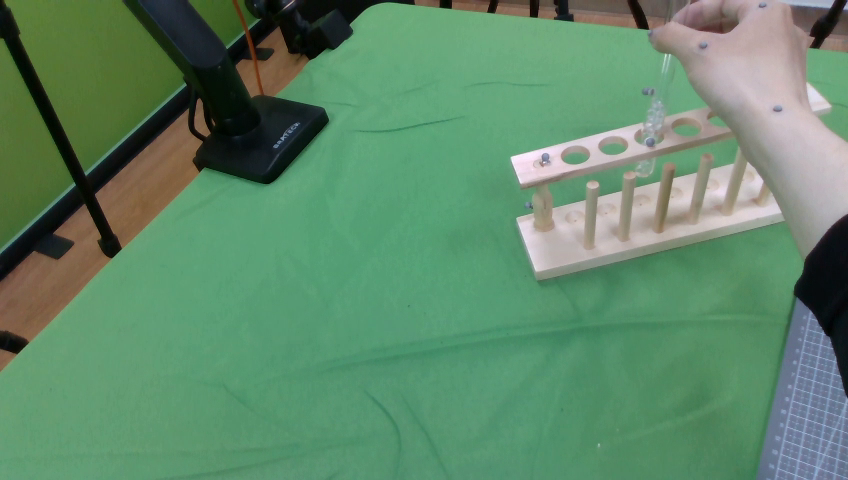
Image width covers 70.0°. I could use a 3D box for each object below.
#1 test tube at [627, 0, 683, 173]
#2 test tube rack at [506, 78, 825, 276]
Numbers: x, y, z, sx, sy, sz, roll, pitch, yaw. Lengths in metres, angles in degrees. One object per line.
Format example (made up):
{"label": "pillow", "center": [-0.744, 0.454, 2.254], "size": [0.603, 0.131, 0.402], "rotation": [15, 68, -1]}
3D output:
{"label": "test tube", "center": [0.176, -0.124, 0.460], "size": [0.017, 0.151, 0.017], "rotation": [4, 22, -1]}
{"label": "test tube rack", "center": [0.196, -0.049, 0.494], "size": [0.242, 0.086, 0.066], "rotation": [-14, 48, 1]}
